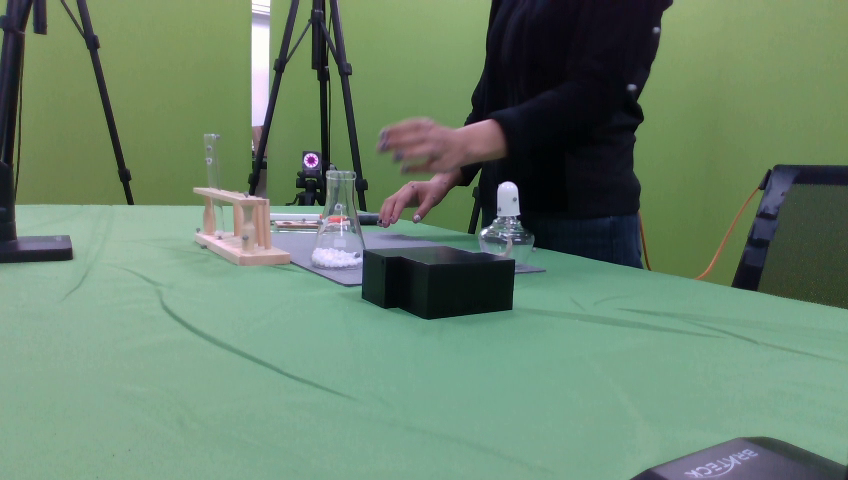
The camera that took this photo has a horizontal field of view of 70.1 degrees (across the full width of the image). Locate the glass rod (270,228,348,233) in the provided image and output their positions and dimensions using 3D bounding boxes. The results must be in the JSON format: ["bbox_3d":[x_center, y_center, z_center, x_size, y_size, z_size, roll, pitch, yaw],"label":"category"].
[{"bbox_3d":[-0.235,-0.017,1.105,0.201,0.008,0.008,1,7,-26],"label":"glass rod"}]

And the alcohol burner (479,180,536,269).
[{"bbox_3d":[0.114,-0.021,0.815,0.078,0.119,0.078,2,9,0],"label":"alcohol burner"}]

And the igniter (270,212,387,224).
[{"bbox_3d":[-0.213,-0.048,1.278,0.278,0.025,0.057,-1,-2,-25],"label":"igniter"}]

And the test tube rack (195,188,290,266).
[{"bbox_3d":[-0.266,-0.025,0.864,0.067,0.085,0.241,-2,9,-33],"label":"test tube rack"}]

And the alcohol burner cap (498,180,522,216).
[{"bbox_3d":[0.114,-0.056,0.809,0.034,0.048,0.034,-5,12,1],"label":"alcohol burner cap"}]

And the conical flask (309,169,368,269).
[{"bbox_3d":[-0.107,-0.028,0.762,0.075,0.122,0.075,2,7,0],"label":"conical flask"}]

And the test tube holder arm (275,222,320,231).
[{"bbox_3d":[-0.238,-0.026,1.145,0.088,0.015,0.010,-3,46,-39],"label":"test tube holder arm"}]

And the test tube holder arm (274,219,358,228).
[{"bbox_3d":[-0.206,-0.032,1.176,0.179,0.015,0.013,-4,46,-39],"label":"test tube holder arm"}]

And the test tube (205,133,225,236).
[{"bbox_3d":[-0.305,-0.079,0.883,0.017,0.150,0.017,-2,10,1],"label":"test tube"}]
